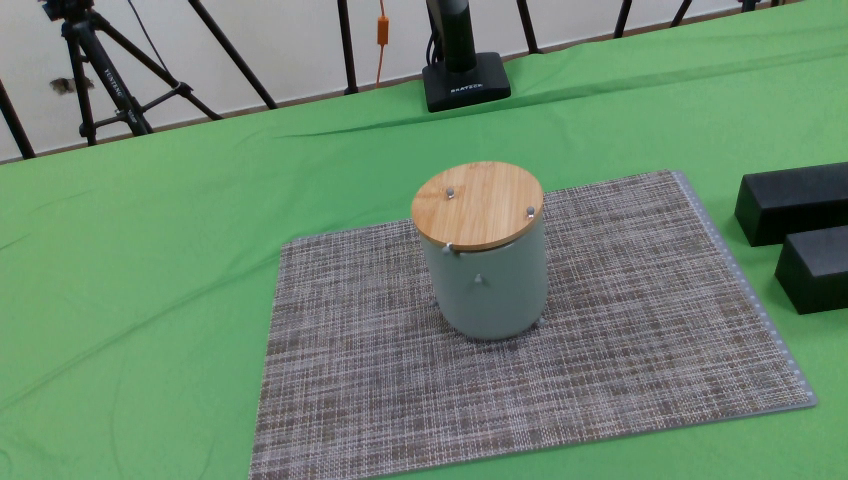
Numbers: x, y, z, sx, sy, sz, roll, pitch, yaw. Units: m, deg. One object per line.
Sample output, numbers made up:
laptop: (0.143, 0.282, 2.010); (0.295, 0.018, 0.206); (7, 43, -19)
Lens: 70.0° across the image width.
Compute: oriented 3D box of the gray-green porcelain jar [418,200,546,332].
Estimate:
gray-green porcelain jar: (0.055, 0.012, 0.541); (0.106, 0.128, 0.105); (-7, 44, 8)

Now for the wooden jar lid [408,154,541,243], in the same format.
wooden jar lid: (0.042, -0.032, 0.496); (0.108, 0.021, 0.107); (-7, 43, 7)
